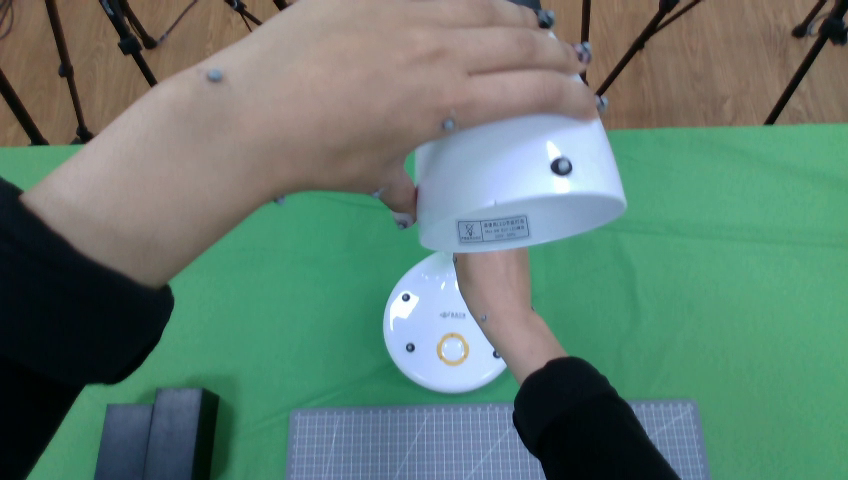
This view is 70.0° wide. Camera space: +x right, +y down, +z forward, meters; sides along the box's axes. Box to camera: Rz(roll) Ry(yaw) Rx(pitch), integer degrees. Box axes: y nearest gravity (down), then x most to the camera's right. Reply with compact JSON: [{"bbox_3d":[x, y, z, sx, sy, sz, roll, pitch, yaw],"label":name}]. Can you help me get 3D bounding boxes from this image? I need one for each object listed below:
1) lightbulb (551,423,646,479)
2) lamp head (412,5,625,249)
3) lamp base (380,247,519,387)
[{"bbox_3d":[0.177,0.228,0.626,0.106,0.060,0.059,35,71,32],"label":"lightbulb"},{"bbox_3d":[0.042,-0.062,0.338,0.112,0.113,0.122,-9,72,-2],"label":"lamp head"},{"bbox_3d":[0.024,0.048,0.638,0.161,0.181,0.177,-8,64,-1],"label":"lamp base"}]
